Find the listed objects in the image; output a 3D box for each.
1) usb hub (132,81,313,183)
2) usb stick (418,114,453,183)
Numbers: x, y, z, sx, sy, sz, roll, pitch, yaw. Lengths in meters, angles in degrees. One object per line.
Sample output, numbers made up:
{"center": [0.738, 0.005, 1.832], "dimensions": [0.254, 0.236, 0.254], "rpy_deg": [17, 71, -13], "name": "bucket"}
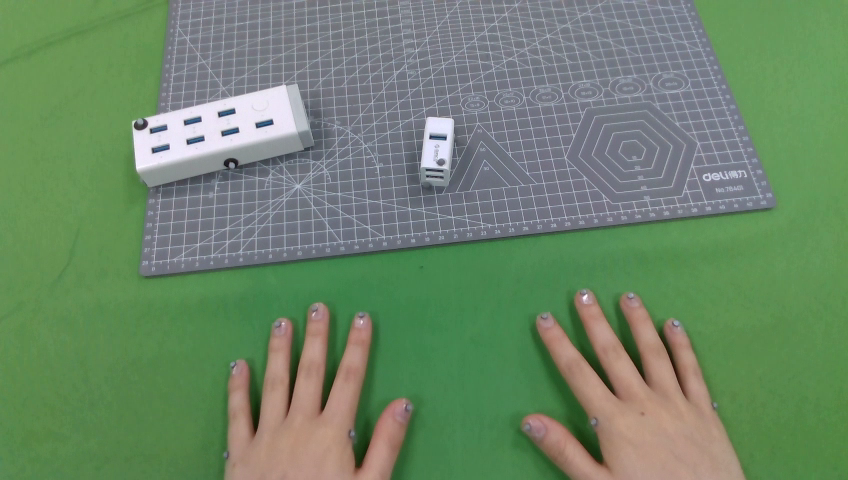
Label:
{"center": [-0.150, -0.082, 0.454], "dimensions": [0.125, 0.025, 0.049], "rpy_deg": [-14, 64, -6], "name": "usb hub"}
{"center": [0.010, -0.073, 0.445], "dimensions": [0.021, 0.027, 0.058], "rpy_deg": [5, 61, 6], "name": "usb stick"}
